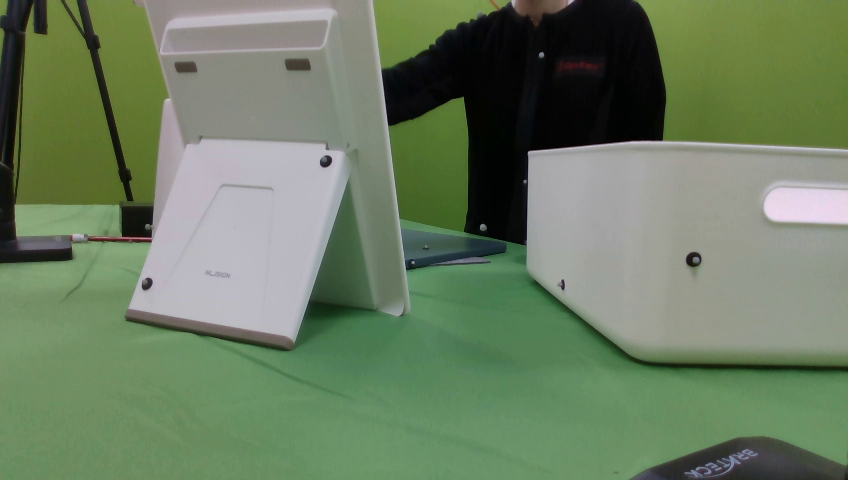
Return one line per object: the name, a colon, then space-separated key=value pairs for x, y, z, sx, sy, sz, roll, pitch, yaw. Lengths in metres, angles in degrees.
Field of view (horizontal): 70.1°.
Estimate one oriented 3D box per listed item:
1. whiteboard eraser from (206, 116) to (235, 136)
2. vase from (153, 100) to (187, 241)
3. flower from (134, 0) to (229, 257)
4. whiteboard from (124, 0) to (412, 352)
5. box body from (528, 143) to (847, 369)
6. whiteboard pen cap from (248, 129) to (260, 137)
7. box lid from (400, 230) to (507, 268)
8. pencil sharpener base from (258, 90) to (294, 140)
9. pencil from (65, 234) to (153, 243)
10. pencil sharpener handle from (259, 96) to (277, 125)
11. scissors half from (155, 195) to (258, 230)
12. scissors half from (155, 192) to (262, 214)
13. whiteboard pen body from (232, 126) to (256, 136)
whiteboard eraser: x=-0.449 y=-0.251 z=1.335 sx=0.056 sy=0.042 sz=0.112 roll=1 pitch=7 yaw=-22
vase: x=-0.278 y=-0.066 z=0.736 sx=0.098 sy=0.200 sz=0.098 roll=2 pitch=9 yaw=0
flower: x=-0.282 y=-0.146 z=0.712 sx=0.038 sy=0.362 sz=0.044 roll=-23 pitch=23 yaw=-31
whiteboard: x=-0.151 y=-0.049 z=0.472 sx=0.216 sy=0.305 sz=0.144 roll=6 pitch=27 yaw=24
box body: x=0.257 y=-0.005 z=0.591 sx=0.254 sy=0.160 sz=0.363 roll=2 pitch=7 yaw=-4
whiteboard pen cap: x=-0.373 y=-0.235 z=1.326 sx=0.018 sy=0.018 sz=0.033 roll=-3 pitch=12 yaw=-35
box lid: x=-0.065 y=0.011 z=0.933 sx=0.262 sy=0.015 sz=0.373 roll=7 pitch=8 yaw=36
pencil sharpener base: x=-0.341 y=-0.285 z=1.388 sx=0.062 sy=0.107 sz=0.076 roll=-3 pitch=9 yaw=-36
pencil: x=-0.429 y=0.000 z=0.910 sx=0.195 sy=0.012 sz=0.012 roll=2 pitch=7 yaw=-19
pencil sharpener handle: x=-0.374 y=-0.304 z=1.425 sx=0.036 sy=0.067 sz=0.030 roll=13 pitch=-1 yaw=-37
scissors half: x=-0.378 y=-0.051 z=1.058 sx=0.176 sy=0.040 sz=0.012 roll=20 pitch=22 yaw=-31
scissors half: x=-0.371 y=-0.068 z=1.051 sx=0.176 sy=0.040 sz=0.013 roll=2 pitch=25 yaw=-24
whiteboard pen body: x=-0.407 y=-0.247 z=1.372 sx=0.017 sy=0.017 sz=0.140 roll=-3 pitch=13 yaw=-35
